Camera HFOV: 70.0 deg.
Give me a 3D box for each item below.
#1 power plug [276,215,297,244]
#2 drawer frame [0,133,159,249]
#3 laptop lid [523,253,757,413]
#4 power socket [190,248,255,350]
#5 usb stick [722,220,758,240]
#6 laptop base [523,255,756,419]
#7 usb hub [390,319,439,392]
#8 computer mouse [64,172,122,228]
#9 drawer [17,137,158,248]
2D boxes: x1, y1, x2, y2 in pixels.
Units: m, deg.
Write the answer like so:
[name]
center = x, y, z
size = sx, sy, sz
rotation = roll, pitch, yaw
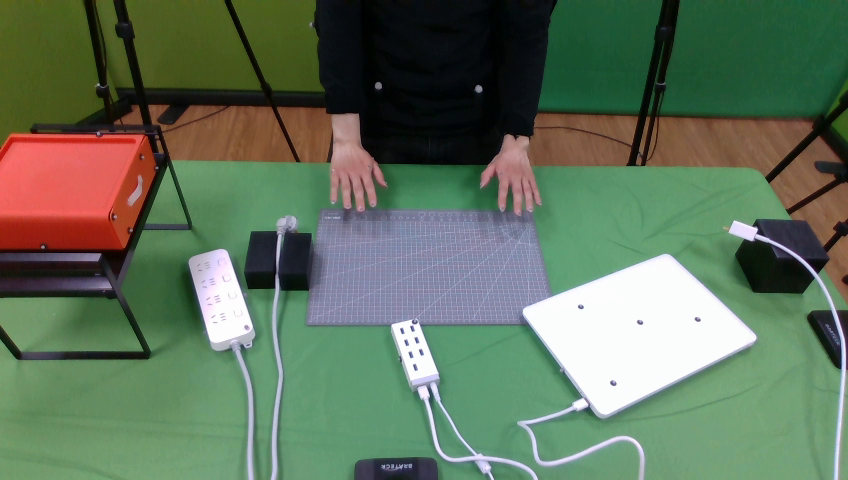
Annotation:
[power plug]
center = -0.267, -0.015, 1.157
size = 0.035, 0.053, 0.072
rotation = 7, 63, 26
[drawer frame]
center = -0.553, -0.078, 0.942
size = 0.214, 0.083, 0.200
rotation = -1, 47, -4
[laptop lid]
center = 0.380, 0.147, 1.073
size = 0.357, 0.013, 0.240
rotation = -17, 48, -19
[power socket]
center = -0.358, 0.100, 1.069
size = 0.072, 0.033, 0.225
rotation = -17, 51, -18
[usb stick]
center = 0.593, -0.021, 1.139
size = 0.059, 0.027, 0.021
rotation = 22, 12, 29
[laptop base]
center = 0.381, 0.157, 1.080
size = 0.355, 0.023, 0.234
rotation = -18, 48, -20
[usb hub]
center = -0.016, 0.190, 1.013
size = 0.049, 0.025, 0.124
rotation = -11, 48, -15
[computer mouse]
center = -0.521, -0.066, 0.955
size = 0.063, 0.041, 0.116
rotation = 0, 48, -9
[drawer]
center = -0.549, -0.079, 0.944
size = 0.212, 0.073, 0.193
rotation = 0, 47, -3
